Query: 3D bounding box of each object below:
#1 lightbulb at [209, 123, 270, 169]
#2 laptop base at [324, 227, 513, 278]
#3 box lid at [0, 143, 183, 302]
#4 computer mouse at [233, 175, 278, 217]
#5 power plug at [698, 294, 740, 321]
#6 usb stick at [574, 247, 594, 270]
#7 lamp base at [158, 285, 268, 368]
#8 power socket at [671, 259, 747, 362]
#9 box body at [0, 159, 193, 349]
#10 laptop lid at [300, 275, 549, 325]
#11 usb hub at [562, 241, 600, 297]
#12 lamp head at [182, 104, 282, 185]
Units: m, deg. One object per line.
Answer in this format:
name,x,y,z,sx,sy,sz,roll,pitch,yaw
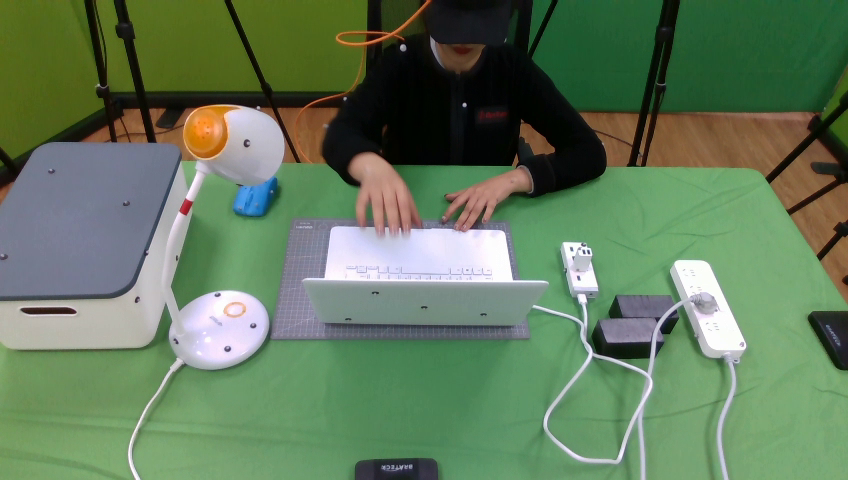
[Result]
lightbulb,-0.260,-0.136,0.847,0.059,0.108,0.059,-4,78,21
laptop base,-0.009,0.063,1.137,0.354,0.023,0.234,1,42,-3
box lid,-0.567,-0.045,0.999,0.263,0.015,0.369,-1,46,-4
computer mouse,-0.349,-0.097,1.257,0.063,0.041,0.116,11,50,4
power plug,0.515,0.127,1.070,0.035,0.053,0.072,-18,56,-7
usb stick,0.298,0.040,1.135,0.027,0.059,0.021,2,46,-4
lamp base,-0.348,0.102,0.963,0.160,0.181,0.178,23,51,18
power socket,0.516,0.119,1.108,0.072,0.033,0.225,0,46,-2
box body,-0.570,0.006,1.054,0.254,0.161,0.361,-1,46,-4
laptop lid,-0.002,0.100,0.947,0.357,0.242,0.013,1,67,-4
usb hub,0.300,0.055,1.162,0.049,0.025,0.124,2,46,-3
lamp head,-0.271,-0.133,0.825,0.112,0.112,0.123,20,8,15
